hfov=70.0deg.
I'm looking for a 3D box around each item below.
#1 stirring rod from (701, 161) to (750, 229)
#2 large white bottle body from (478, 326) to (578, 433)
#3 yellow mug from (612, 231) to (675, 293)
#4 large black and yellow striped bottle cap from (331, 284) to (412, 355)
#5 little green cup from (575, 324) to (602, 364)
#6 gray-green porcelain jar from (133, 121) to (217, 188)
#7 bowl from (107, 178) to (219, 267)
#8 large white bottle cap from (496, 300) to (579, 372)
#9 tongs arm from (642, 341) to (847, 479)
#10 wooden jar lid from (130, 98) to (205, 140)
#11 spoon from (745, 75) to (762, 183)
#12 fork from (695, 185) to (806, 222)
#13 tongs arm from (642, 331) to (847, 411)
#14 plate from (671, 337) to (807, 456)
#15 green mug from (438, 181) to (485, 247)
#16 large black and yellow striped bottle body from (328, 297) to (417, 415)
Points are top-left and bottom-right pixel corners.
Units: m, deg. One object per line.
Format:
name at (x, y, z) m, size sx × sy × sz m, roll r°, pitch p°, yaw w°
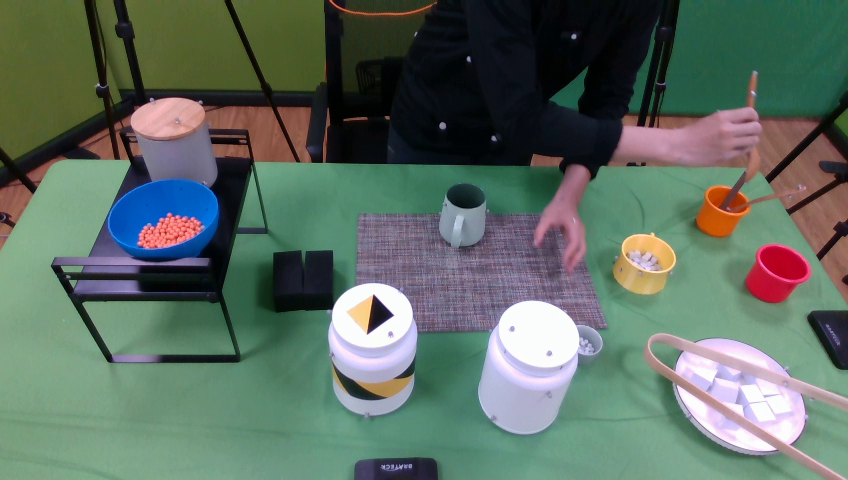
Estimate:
stirring rod at (0.634, -0.097, 1.257) m, size 0.014 × 0.006 × 0.176 m, roll 38°, pitch 97°, yaw 30°
large white bottle body at (0.156, 0.192, 0.913) m, size 0.131 × 0.185 × 0.130 m, roll 2°, pitch 46°, yaw -2°
yellow mug at (0.424, 0.033, 1.168) m, size 0.100 × 0.064 × 0.130 m, roll 18°, pitch 46°, yaw 14°
large black and yellow striped bottle cap at (-0.073, 0.110, 0.858) m, size 0.115 × 0.019 × 0.114 m, roll 2°, pitch 46°, yaw -1°
little green cup at (0.269, 0.179, 1.036) m, size 0.061 × 0.039 × 0.061 m, roll 2°, pitch 46°, yaw -2°
gray-green porcelain jar at (-0.397, -0.141, 0.980) m, size 0.106 × 0.127 × 0.105 m, roll 2°, pitch 47°, yaw -2°
bowl at (-0.374, -0.014, 0.893) m, size 0.151 × 0.077 × 0.150 m, roll 2°, pitch 46°, yaw -2°
large white bottle cap at (0.160, 0.133, 0.852) m, size 0.115 × 0.018 × 0.114 m, roll 3°, pitch 46°, yaw -2°
tongs arm at (0.504, 0.278, 0.918) m, size 0.386 × 0.028 × 0.028 m, roll 34°, pitch 59°, yaw 22°
wooden jar lid at (-0.393, -0.183, 0.934) m, size 0.108 × 0.021 × 0.107 m, roll 3°, pitch 43°, yaw -2°
spoon at (0.532, -0.175, 0.980) m, size 0.041 × 0.195 × 0.021 m, roll -38°, pitch 36°, yaw -24°
fork at (0.658, -0.074, 1.229) m, size 0.207 × 0.019 × 0.028 m, roll -23°, pitch 35°, yaw 37°
tongs arm at (0.546, 0.227, 0.968) m, size 0.384 × 0.026 × 0.050 m, roll 22°, pitch 52°, yaw 13°
plate at (0.503, 0.254, 0.984) m, size 0.208 × 0.039 × 0.206 m, roll 2°, pitch 46°, yaw -2°
green mug at (0.071, -0.039, 1.177) m, size 0.092 × 0.105 × 0.124 m, roll 12°, pitch 47°, yaw 7°
large black and yellow striped bottle body at (-0.078, 0.167, 0.920) m, size 0.131 × 0.185 × 0.130 m, roll 2°, pitch 46°, yaw -2°
